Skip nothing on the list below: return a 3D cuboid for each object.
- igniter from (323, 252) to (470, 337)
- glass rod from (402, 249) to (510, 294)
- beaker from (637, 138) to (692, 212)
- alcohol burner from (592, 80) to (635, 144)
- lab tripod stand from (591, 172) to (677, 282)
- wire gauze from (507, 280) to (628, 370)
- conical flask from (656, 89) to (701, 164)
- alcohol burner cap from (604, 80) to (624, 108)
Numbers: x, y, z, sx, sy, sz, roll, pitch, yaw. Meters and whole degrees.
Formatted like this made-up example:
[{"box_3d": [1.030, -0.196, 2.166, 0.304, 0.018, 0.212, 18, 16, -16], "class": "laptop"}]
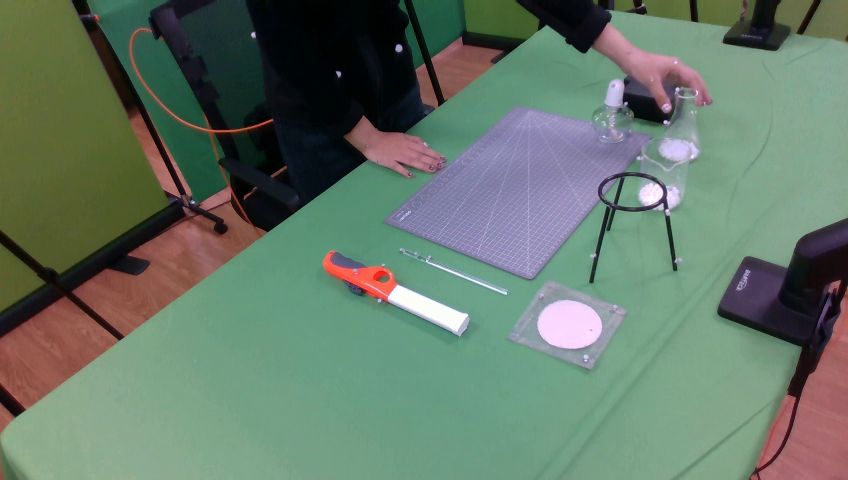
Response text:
[{"box_3d": [-0.052, 0.075, 0.901, 0.274, 0.025, 0.057, 22, 60, 32], "class": "igniter"}, {"box_3d": [0.045, 0.046, 0.931, 0.198, 0.008, 0.008, 21, 49, 31], "class": "glass rod"}, {"box_3d": [0.383, -0.100, 0.970, 0.074, 0.101, 0.084, 2, 42, 14], "class": "beaker"}, {"box_3d": [0.353, -0.242, 1.126, 0.078, 0.119, 0.077, -5, 38, 5], "class": "alcohol burner"}, {"box_3d": [0.292, -0.022, 0.867, 0.148, 0.132, 0.147, -7, 39, 6], "class": "lab tripod stand"}, {"box_3d": [0.196, 0.114, 0.823, 0.120, 0.011, 0.125, 20, 50, 31], "class": "wire gauze"}, {"box_3d": [0.452, -0.201, 1.057, 0.075, 0.122, 0.075, -5, 40, 5], "class": "conical flask"}, {"box_3d": [0.350, -0.269, 1.104, 0.034, 0.048, 0.033, -1, 48, 2], "class": "alcohol burner cap"}]
